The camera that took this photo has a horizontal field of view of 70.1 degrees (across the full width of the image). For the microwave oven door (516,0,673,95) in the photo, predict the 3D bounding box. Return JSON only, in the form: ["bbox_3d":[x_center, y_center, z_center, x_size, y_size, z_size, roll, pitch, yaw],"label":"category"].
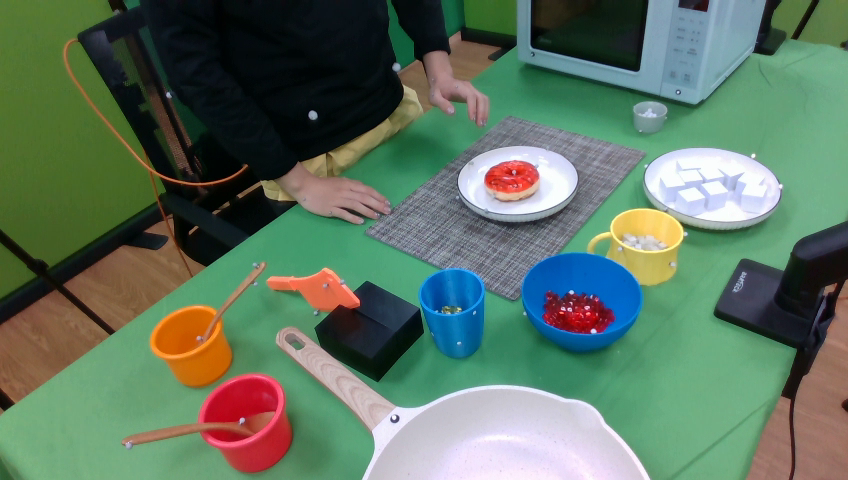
[{"bbox_3d":[0.344,-0.458,1.256,0.353,0.245,0.039,26,51,33],"label":"microwave oven door"}]

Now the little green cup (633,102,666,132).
[{"bbox_3d":[0.434,-0.238,1.171,0.061,0.039,0.061,-4,40,4],"label":"little green cup"}]

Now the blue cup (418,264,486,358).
[{"bbox_3d":[0.042,0.100,0.787,0.092,0.101,0.092,-5,41,5],"label":"blue cup"}]

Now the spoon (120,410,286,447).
[{"bbox_3d":[-0.236,0.208,0.669,0.041,0.021,0.195,33,12,38],"label":"spoon"}]

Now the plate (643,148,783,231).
[{"bbox_3d":[0.464,-0.080,0.985,0.207,0.039,0.206,-4,41,4],"label":"plate"}]

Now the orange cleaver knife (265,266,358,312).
[{"bbox_3d":[-0.164,0.073,0.864,0.210,0.077,0.012,-6,31,50],"label":"orange cleaver knife"}]

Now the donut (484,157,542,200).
[{"bbox_3d":[0.152,-0.107,1.039,0.099,0.048,0.098,-5,37,5],"label":"donut"}]

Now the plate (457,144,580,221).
[{"bbox_3d":[0.162,-0.097,1.042,0.209,0.038,0.208,-4,40,4],"label":"plate"}]

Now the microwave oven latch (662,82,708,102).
[{"bbox_3d":[0.518,-0.298,1.203,0.078,0.029,0.030,28,53,35],"label":"microwave oven latch"}]

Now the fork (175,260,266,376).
[{"bbox_3d":[-0.268,0.103,0.792,0.207,0.019,0.028,-51,41,16],"label":"fork"}]

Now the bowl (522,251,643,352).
[{"bbox_3d":[0.204,0.093,0.792,0.151,0.077,0.150,-4,40,4],"label":"bowl"}]

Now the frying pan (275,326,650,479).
[{"bbox_3d":[0.003,0.229,0.641,0.484,0.103,0.308,34,54,28],"label":"frying pan"}]

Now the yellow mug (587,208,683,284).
[{"bbox_3d":[0.305,0.009,0.884,0.131,0.064,0.099,-4,41,5],"label":"yellow mug"}]

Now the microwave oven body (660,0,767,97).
[{"bbox_3d":[0.473,-0.516,1.313,0.438,0.261,0.327,26,51,34],"label":"microwave oven body"}]
